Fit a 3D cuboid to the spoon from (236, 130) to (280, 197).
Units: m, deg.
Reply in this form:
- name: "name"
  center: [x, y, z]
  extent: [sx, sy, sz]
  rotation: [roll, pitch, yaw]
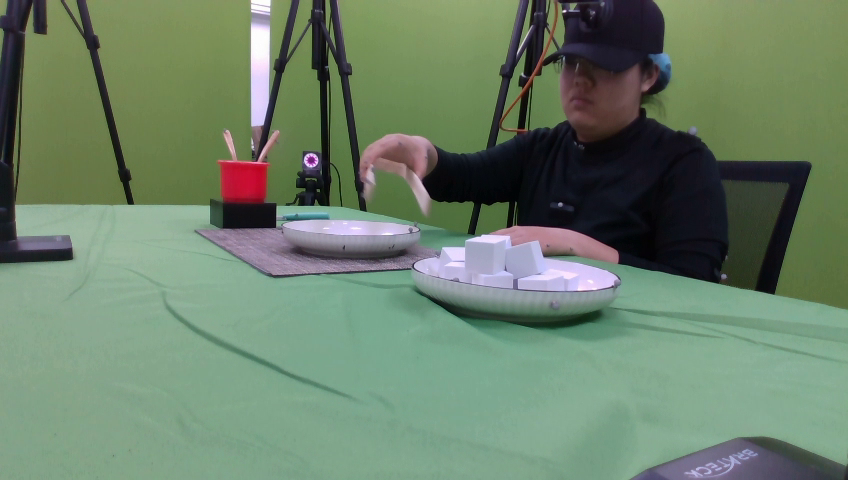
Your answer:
- name: "spoon"
  center: [-0.321, -0.154, 1.192]
  extent: [0.041, 0.193, 0.022]
  rotation: [0, -37, 19]

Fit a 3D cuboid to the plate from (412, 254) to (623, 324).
- name: "plate"
  center: [0.090, 0.047, 0.609]
  extent: [0.209, 0.038, 0.209]
  rotation: [2, 7, 0]

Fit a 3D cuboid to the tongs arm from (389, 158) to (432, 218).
- name: "tongs arm"
  center: [-0.022, -0.087, 0.923]
  extent: [0.028, 0.028, 0.386]
  rotation: [9, 13, -10]

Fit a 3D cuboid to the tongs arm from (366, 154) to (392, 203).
- name: "tongs arm"
  center: [-0.063, -0.097, 0.916]
  extent: [0.051, 0.026, 0.384]
  rotation: [12, 12, -10]

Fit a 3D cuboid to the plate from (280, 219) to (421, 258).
- name: "plate"
  center: [-0.108, -0.002, 0.902]
  extent: [0.208, 0.039, 0.207]
  rotation: [3, 7, 0]

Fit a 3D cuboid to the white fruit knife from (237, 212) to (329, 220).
- name: "white fruit knife"
  center: [-0.304, -0.050, 1.328]
  extent: [0.208, 0.016, 0.027]
  rotation: [-3, -19, -29]

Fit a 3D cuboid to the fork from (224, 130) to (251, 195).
- name: "fork"
  center: [-0.372, -0.155, 1.193]
  extent: [0.028, 0.018, 0.206]
  rotation: [-17, 54, -13]
